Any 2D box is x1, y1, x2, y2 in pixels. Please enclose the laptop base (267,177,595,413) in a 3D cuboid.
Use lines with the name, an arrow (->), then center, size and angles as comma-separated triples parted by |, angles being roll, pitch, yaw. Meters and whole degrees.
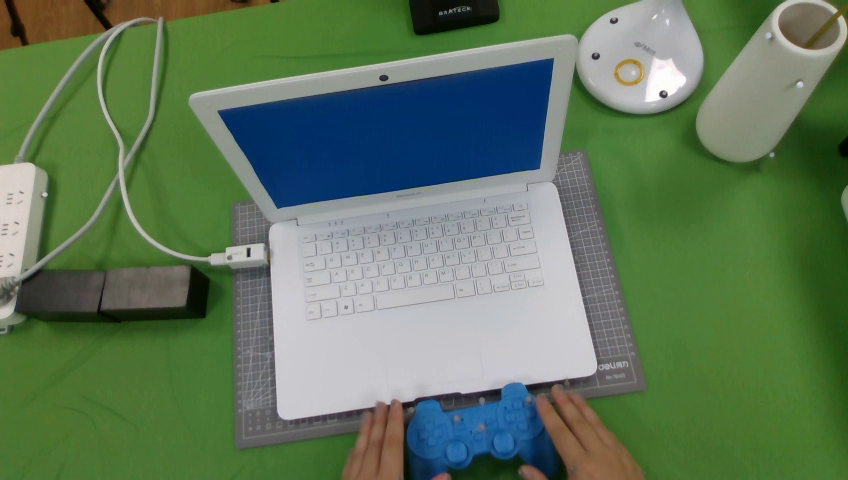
laptop base -> -0.001, 0.058, 0.699 | 0.354, 0.023, 0.234 | -8, 73, 1

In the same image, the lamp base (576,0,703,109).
lamp base -> 0.276, -0.276, 0.713 | 0.160, 0.181, 0.178 | 24, 71, 12

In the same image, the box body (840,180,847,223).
box body -> 0.605, 0.054, 0.579 | 0.254, 0.161, 0.361 | -7, 70, 2

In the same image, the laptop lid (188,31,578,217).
laptop lid -> -0.028, -0.106, 0.633 | 0.357, 0.244, 0.013 | -9, 63, 2

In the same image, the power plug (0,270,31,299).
power plug -> -0.485, 0.055, 0.707 | 0.072, 0.053, 0.035 | 6, 69, 5

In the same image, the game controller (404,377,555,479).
game controller -> 0.054, 0.200, 0.629 | 0.155, 0.052, 0.096 | -11, 69, 0

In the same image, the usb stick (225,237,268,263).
usb stick -> -0.202, 0.011, 0.716 | 0.059, 0.027, 0.021 | -5, 68, -3

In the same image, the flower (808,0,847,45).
flower -> 0.381, -0.202, 0.581 | 0.038, 0.363, 0.043 | 5, 60, -11

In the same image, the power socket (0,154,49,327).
power socket -> -0.520, -0.006, 0.752 | 0.072, 0.033, 0.225 | -6, 69, 2

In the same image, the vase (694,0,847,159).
vase -> 0.368, -0.171, 0.658 | 0.098, 0.201, 0.097 | -2, 68, 6
